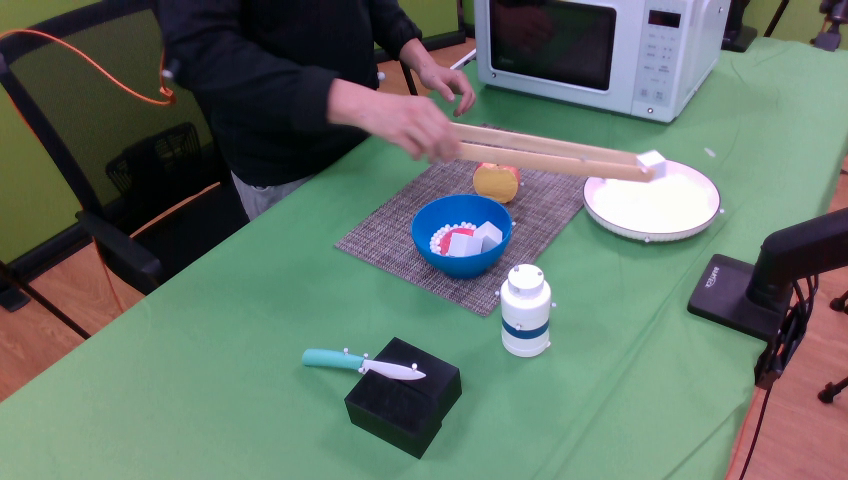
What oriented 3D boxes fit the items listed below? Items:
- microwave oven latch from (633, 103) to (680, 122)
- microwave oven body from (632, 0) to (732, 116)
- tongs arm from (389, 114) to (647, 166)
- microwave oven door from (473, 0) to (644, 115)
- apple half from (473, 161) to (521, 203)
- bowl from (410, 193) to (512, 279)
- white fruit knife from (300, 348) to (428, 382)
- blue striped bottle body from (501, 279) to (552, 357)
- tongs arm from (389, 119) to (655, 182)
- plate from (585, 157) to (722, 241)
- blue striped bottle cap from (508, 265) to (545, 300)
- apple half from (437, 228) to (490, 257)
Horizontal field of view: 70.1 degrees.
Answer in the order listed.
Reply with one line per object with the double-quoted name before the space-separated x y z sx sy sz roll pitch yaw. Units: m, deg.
"microwave oven latch" 0.444 -0.249 1.158 0.078 0.029 0.030 21 49 30
"microwave oven body" 0.377 -0.463 1.267 0.438 0.261 0.327 21 49 30
"tongs arm" 0.143 -0.139 0.877 0.389 0.028 0.028 7 44 -10
"microwave oven door" 0.257 -0.396 1.199 0.353 0.245 0.039 21 48 29
"apple half" 0.128 -0.107 1.030 0.080 0.075 0.053 5 39 20
"bowl" 0.058 0.005 0.905 0.151 0.077 0.150 -4 40 4
"white fruit knife" -0.080 0.154 0.748 0.206 0.027 0.016 1 20 35
"blue striped bottle body" 0.130 0.088 0.769 0.063 0.121 0.063 -4 41 4
"tongs arm" 0.143 -0.124 0.859 0.386 0.026 0.050 5 41 -13
"plate" 0.367 -0.063 0.979 0.207 0.039 0.206 -4 40 4
"blue striped bottle cap" 0.125 0.051 0.735 0.044 0.021 0.044 -6 39 5
"apple half" 0.056 0.002 0.902 0.081 0.033 0.081 -3 41 3
